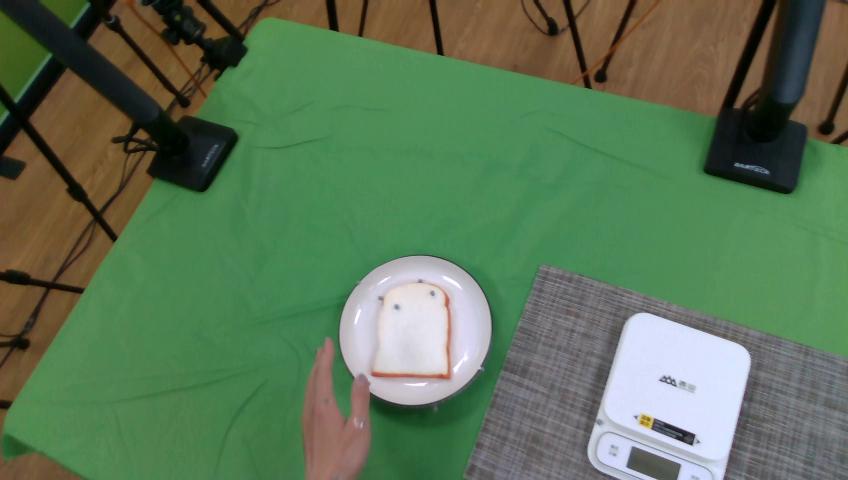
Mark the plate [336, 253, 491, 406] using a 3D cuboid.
[{"bbox_3d":[-0.013,0.119,0.810,0.209,0.038,0.207,-4,65,8],"label":"plate"}]

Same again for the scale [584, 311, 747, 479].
[{"bbox_3d":[0.289,0.194,0.724,0.148,0.032,0.200,18,70,17],"label":"scale"}]

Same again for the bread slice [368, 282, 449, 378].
[{"bbox_3d":[-0.019,0.118,0.812,0.105,0.019,0.130,-1,64,9],"label":"bread slice"}]
